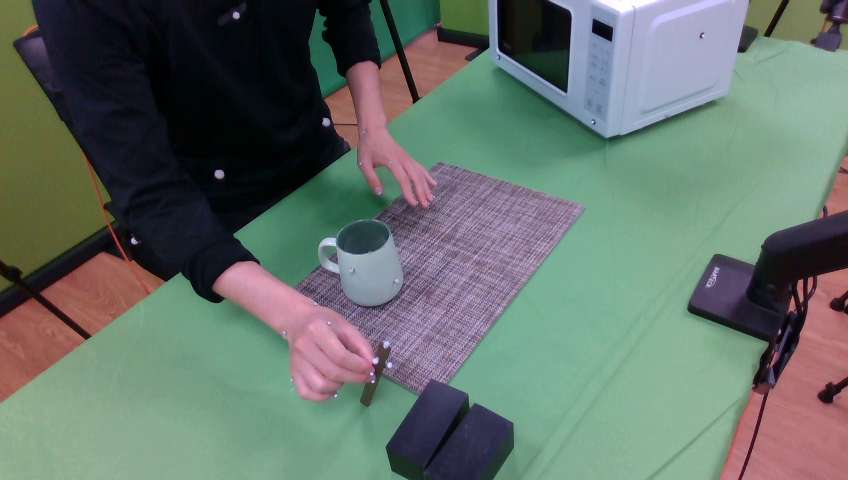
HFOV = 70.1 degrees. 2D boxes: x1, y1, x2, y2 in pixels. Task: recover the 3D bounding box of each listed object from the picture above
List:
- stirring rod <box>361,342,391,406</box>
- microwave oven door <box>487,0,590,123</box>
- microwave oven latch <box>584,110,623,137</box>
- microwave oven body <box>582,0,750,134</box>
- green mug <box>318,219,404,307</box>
[{"bbox_3d":[-0.056,0.156,0.686,0.014,0.176,0.006,31,55,9],"label":"stirring rod"},{"bbox_3d":[0.232,-0.420,1.230,0.039,0.245,0.352,-22,43,-16],"label":"microwave oven door"},{"bbox_3d":[0.337,-0.222,1.142,0.030,0.029,0.078,-21,42,-14],"label":"microwave oven latch"},{"bbox_3d":[0.382,-0.445,1.246,0.327,0.261,0.437,-22,42,-16],"label":"microwave oven body"},{"bbox_3d":[-0.095,0.032,0.876,0.125,0.105,0.092,8,43,17],"label":"green mug"}]
